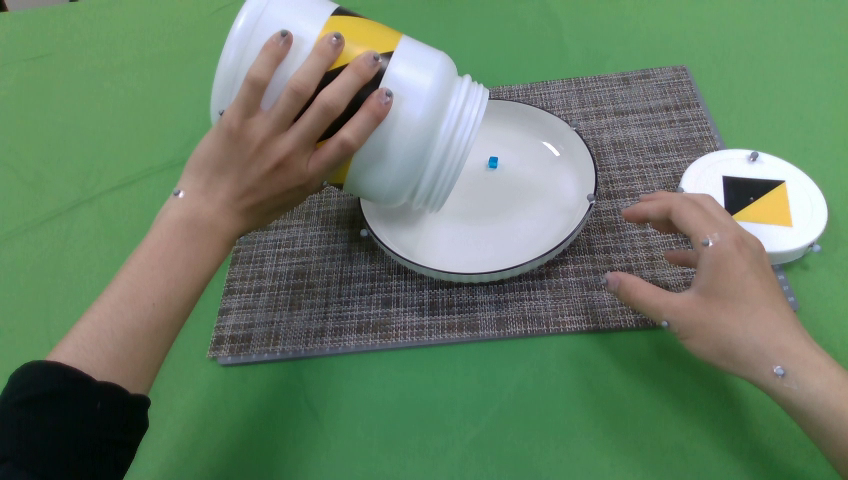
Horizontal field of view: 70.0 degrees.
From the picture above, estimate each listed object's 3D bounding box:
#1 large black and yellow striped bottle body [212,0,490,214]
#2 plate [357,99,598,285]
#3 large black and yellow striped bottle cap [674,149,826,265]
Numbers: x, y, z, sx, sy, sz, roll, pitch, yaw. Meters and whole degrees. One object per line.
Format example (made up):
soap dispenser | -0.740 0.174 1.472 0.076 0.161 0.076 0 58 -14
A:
large black and yellow striped bottle body | -0.053 -0.105 0.476 0.184 0.131 0.130 23 55 -7
plate | 0.046 -0.043 0.535 0.207 0.039 0.205 -4 52 6
large black and yellow striped bottle cap | 0.269 -0.031 0.503 0.115 0.019 0.114 -2 53 3
